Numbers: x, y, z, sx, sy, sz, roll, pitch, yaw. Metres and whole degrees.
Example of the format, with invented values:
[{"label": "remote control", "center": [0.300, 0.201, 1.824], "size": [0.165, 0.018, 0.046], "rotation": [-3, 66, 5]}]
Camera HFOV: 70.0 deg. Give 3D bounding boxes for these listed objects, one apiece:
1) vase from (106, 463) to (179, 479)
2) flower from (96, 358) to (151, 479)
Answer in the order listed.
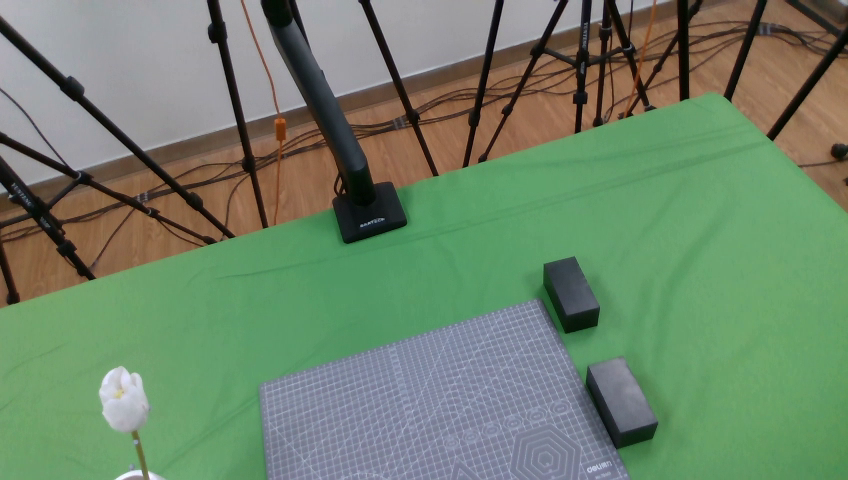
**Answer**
[{"label": "vase", "center": [-0.291, 0.324, 0.696], "size": [0.098, 0.202, 0.097], "rotation": [-4, 50, 5]}, {"label": "flower", "center": [-0.289, 0.262, 0.641], "size": [0.038, 0.364, 0.043], "rotation": [-19, 43, -30]}]
